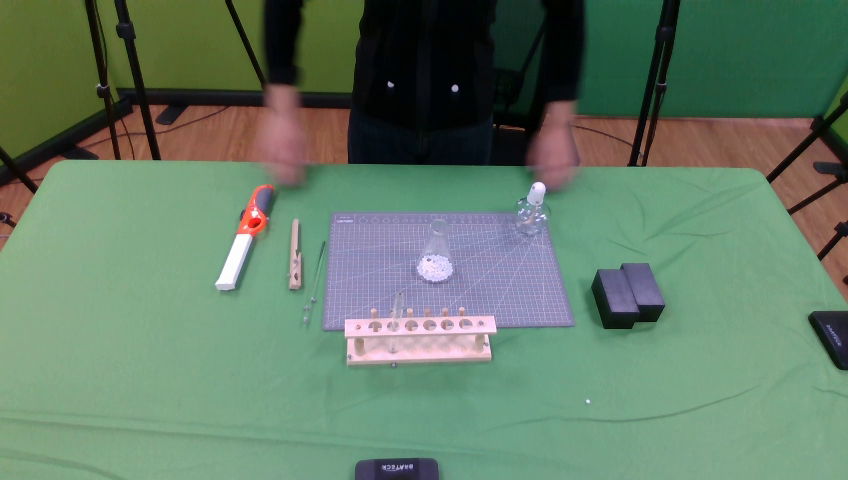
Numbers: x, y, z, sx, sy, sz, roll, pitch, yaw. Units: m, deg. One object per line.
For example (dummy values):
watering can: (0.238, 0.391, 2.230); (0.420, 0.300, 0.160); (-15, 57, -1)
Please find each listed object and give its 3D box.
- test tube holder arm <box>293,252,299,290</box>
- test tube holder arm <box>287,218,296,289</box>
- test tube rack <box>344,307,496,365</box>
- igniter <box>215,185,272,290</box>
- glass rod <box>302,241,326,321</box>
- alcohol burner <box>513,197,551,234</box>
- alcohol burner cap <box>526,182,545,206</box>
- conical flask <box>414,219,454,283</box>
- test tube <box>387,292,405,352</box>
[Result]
test tube holder arm: (-0.241, 0.056, 1.131); (0.010, 0.015, 0.087); (24, 35, -33)
test tube holder arm: (-0.253, 0.022, 1.158); (0.013, 0.015, 0.177); (23, 36, -34)
test tube rack: (-0.009, 0.154, 1.007); (0.242, 0.085, 0.066); (-1, 46, -5)
igniter: (-0.347, -0.014, 1.182); (0.057, 0.025, 0.275); (-1, 45, 8)
glass rod: (-0.203, 0.071, 1.124); (0.008, 0.008, 0.198); (5, 44, 1)
alcohol burner: (0.220, -0.069, 1.217); (0.078, 0.119, 0.077); (3, 47, -3)
alcohol burner cap: (0.222, -0.093, 1.190); (0.034, 0.048, 0.033); (2, 54, -3)
conical flask: (0.022, 0.016, 1.112); (0.075, 0.122, 0.075); (2, 46, -2)
test tube: (-0.045, 0.133, 0.956); (0.017, 0.151, 0.017); (5, 47, -5)
